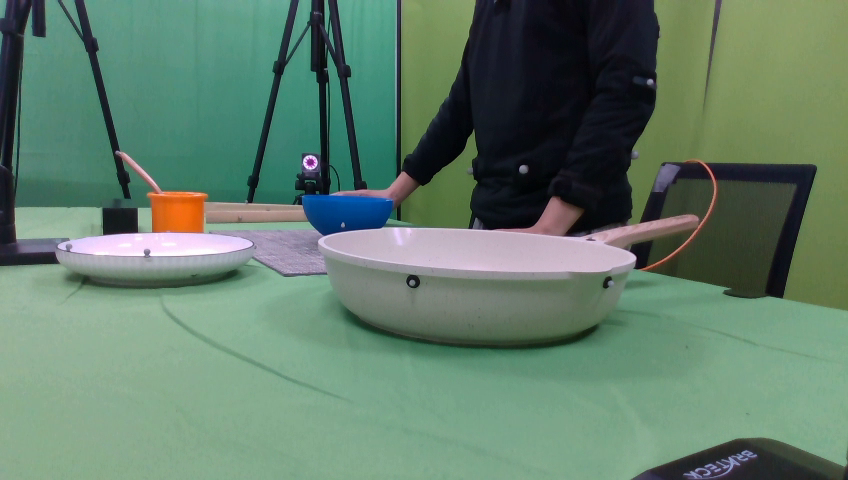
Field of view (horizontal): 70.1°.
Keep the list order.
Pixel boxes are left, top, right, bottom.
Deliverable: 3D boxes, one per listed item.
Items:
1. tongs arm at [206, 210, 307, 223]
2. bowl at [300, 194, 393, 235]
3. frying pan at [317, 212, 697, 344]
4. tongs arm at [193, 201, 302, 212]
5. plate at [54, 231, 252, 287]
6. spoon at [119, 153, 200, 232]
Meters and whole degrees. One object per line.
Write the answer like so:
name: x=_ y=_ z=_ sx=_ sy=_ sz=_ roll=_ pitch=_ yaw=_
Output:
tongs arm: x=-0.297 y=-0.057 z=1.360 sx=0.390 sy=0.028 sz=0.028 roll=-4 pitch=7 yaw=-39
bowl: x=-0.128 y=-0.034 z=0.995 sx=0.151 sy=0.077 sz=0.151 roll=2 pitch=7 yaw=0
frying pan: x=0.133 y=0.013 z=0.629 sx=0.490 sy=0.102 sz=0.305 roll=-12 pitch=14 yaw=-31
tongs arm: x=-0.338 y=-0.072 z=1.429 sx=0.387 sy=0.026 sz=0.050 roll=0 pitch=9 yaw=-26
plate: x=-0.309 y=0.020 z=0.705 sx=0.208 sy=0.039 sz=0.207 roll=2 pitch=7 yaw=0
spoon: x=-0.439 y=-0.077 z=1.001 sx=0.021 sy=0.193 sz=0.042 roll=-43 pitch=-6 yaw=21
